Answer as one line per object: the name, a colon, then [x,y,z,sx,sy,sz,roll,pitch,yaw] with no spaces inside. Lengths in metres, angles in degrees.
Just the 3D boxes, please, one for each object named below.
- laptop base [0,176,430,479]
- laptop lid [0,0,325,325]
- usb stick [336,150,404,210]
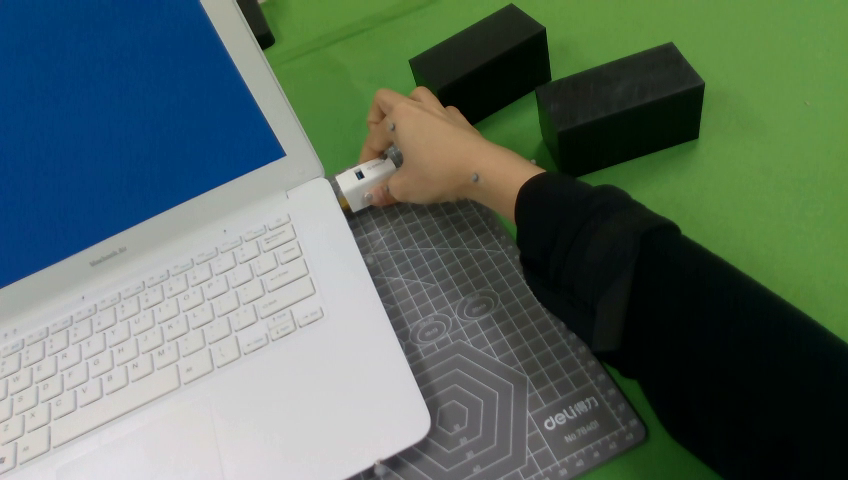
laptop base: [-0.191,0.106,0.408,0.354,0.023,0.233,-26,54,-3]
laptop lid: [-0.272,-0.063,0.411,0.357,0.244,0.013,-27,36,-2]
usb stick: [-0.047,-0.042,0.459,0.059,0.027,0.021,-28,47,-3]
